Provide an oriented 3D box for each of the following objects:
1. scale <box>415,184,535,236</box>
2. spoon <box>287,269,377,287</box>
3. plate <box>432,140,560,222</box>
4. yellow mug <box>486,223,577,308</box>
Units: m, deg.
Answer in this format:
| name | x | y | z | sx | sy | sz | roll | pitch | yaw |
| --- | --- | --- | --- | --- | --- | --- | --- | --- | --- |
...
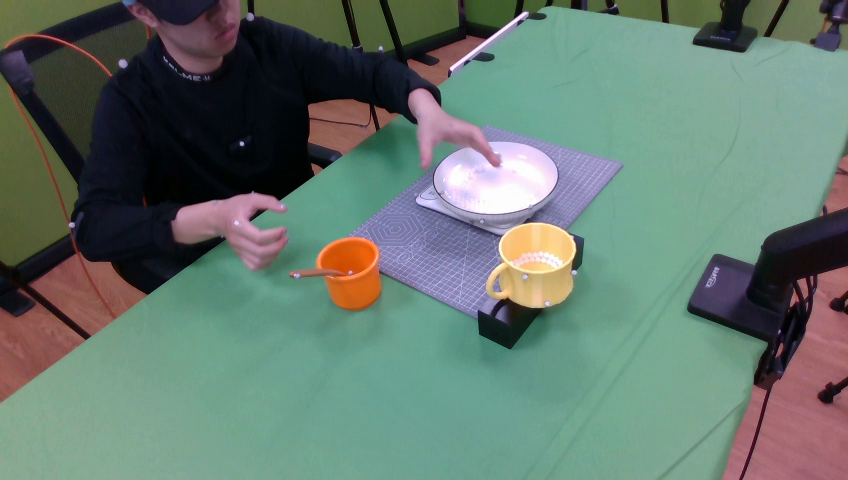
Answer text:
| name | x | y | z | sx | sy | sz | roll | pitch | yaw |
| --- | --- | --- | --- | --- | --- | --- | --- | --- | --- |
| scale | 0.099 | -0.080 | 1.035 | 0.199 | 0.032 | 0.149 | 23 | 48 | 31 |
| spoon | -0.124 | 0.050 | 0.831 | 0.041 | 0.195 | 0.021 | 24 | 93 | 27 |
| plate | 0.118 | -0.094 | 0.999 | 0.209 | 0.038 | 0.208 | -4 | 41 | 4 |
| yellow mug | 0.136 | 0.038 | 0.793 | 0.131 | 0.064 | 0.099 | -25 | 43 | -19 |
